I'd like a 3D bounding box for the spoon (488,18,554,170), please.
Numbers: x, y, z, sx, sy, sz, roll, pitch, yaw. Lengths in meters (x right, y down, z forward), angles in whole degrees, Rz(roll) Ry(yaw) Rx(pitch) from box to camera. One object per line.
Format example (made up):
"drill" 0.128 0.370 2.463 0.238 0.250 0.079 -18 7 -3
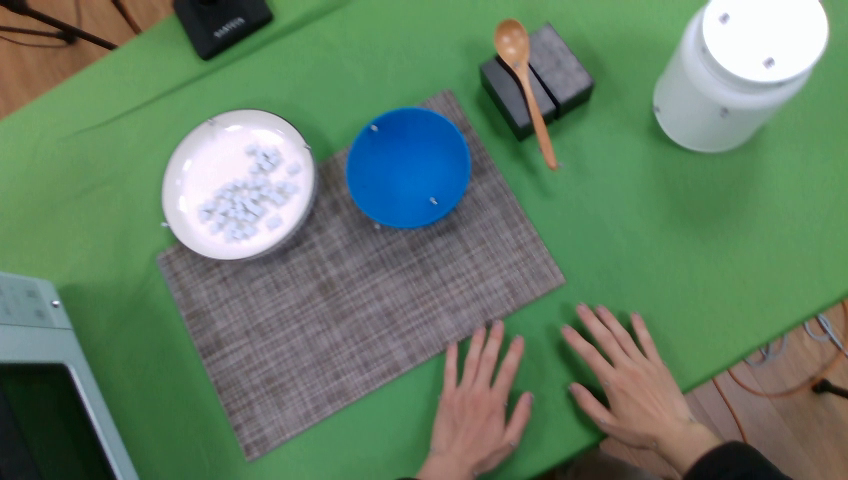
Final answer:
"spoon" 0.121 -0.176 0.732 0.041 0.022 0.193 -18 83 0

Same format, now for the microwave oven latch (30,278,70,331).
"microwave oven latch" -0.494 0.088 0.786 0.030 0.029 0.079 -32 78 0

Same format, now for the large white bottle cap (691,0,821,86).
"large white bottle cap" 0.320 -0.205 0.585 0.115 0.018 0.114 -1 79 7

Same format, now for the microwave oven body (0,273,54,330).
"microwave oven body" -0.542 0.294 0.656 0.326 0.261 0.439 -32 78 0

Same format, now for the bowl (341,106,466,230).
"bowl" -0.019 -0.079 0.746 0.151 0.077 0.151 -1 80 8

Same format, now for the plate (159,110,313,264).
"plate" -0.242 -0.068 0.796 0.209 0.038 0.208 -2 77 9

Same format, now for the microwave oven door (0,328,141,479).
"microwave oven door" -0.397 0.250 0.639 0.039 0.245 0.354 -33 77 1

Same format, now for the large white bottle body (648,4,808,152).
"large white bottle body" 0.332 -0.187 0.668 0.130 0.185 0.130 -1 79 8
